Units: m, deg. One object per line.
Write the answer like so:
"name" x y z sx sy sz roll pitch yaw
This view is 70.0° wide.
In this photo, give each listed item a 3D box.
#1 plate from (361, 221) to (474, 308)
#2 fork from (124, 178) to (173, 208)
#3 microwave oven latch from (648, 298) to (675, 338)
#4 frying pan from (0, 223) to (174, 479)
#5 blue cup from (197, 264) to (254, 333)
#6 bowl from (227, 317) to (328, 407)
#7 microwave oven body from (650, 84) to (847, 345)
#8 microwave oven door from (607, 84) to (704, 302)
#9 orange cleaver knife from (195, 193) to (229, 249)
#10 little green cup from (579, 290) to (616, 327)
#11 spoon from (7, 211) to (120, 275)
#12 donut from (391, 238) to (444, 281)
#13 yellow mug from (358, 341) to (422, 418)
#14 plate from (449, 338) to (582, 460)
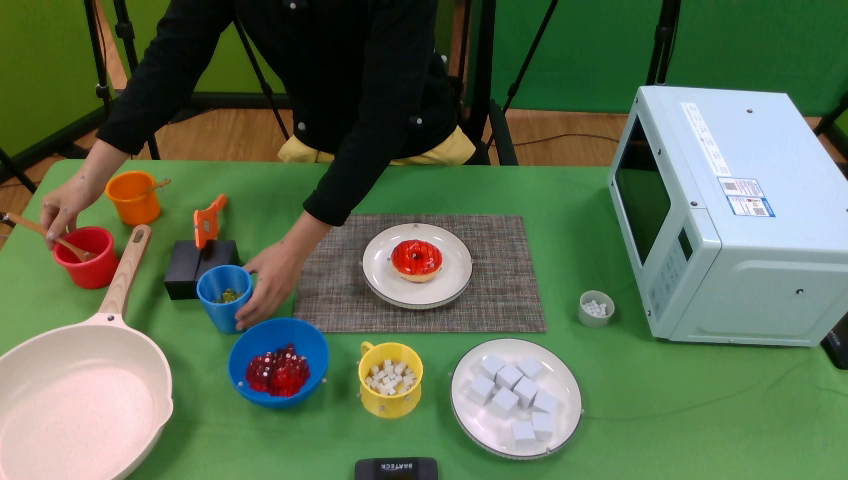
"plate" -0.011 0.049 1.130 0.209 0.038 0.208 2 46 -2
"fork" -0.525 -0.089 1.153 0.207 0.019 0.028 -17 26 45
"microwave oven latch" 0.413 0.133 1.060 0.030 0.029 0.078 5 46 2
"frying pan" -0.505 0.169 0.940 0.307 0.103 0.485 5 54 -1
"blue cup" -0.326 0.105 1.018 0.093 0.101 0.092 3 47 -3
"bowl" -0.222 0.203 0.947 0.151 0.077 0.150 2 46 -2
"microwave oven body" 0.569 -0.054 1.116 0.326 0.261 0.439 2 46 -1
"microwave oven door" 0.423 -0.096 1.137 0.039 0.245 0.353 2 46 -1
"orange cleaver knife" -0.405 -0.041 1.163 0.012 0.077 0.210 0 18 -3
"little green cup" 0.308 0.124 1.086 0.061 0.039 0.061 1 45 -1
"spoon" -0.628 0.004 1.061 0.195 0.021 0.041 39 48 -28
"donut" -0.012 0.035 1.128 0.099 0.048 0.098 3 43 -3
"yellow mug" -0.063 0.210 0.961 0.100 0.064 0.130 -29 54 -28
"plate" 0.141 0.251 0.955 0.208 0.039 0.206 2 46 -2
